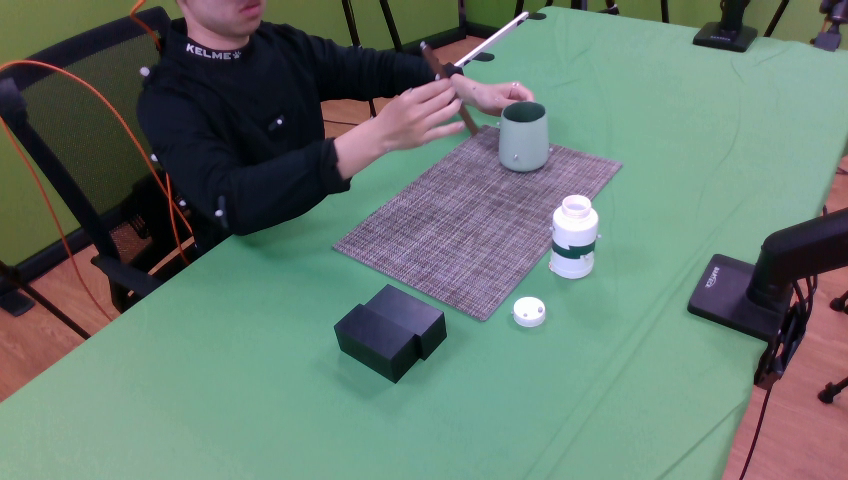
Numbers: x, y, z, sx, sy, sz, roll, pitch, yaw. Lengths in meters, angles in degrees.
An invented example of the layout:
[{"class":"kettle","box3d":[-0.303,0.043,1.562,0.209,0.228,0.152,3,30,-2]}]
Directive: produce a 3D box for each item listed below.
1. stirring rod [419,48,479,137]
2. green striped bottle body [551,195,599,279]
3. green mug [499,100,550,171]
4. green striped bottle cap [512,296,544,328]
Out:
[{"class":"stirring rod","box3d":[0.039,-0.214,0.895,0.005,0.177,0.014,28,75,45]},{"class":"green striped bottle body","box3d":[0.217,-0.006,0.870,0.063,0.120,0.063,-4,41,4]},{"class":"green mug","box3d":[0.183,-0.197,1.101,0.092,0.105,0.125,1,41,9]},{"class":"green striped bottle cap","box3d":[0.144,0.099,0.837,0.044,0.020,0.044,-1,43,2]}]
